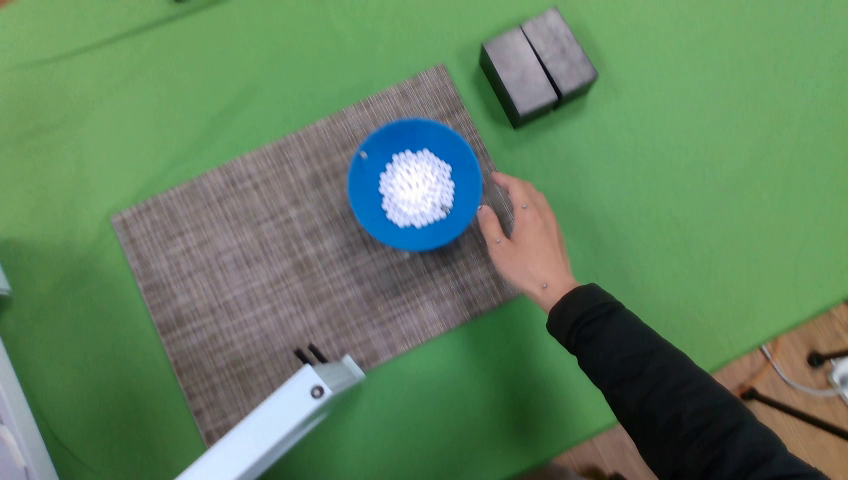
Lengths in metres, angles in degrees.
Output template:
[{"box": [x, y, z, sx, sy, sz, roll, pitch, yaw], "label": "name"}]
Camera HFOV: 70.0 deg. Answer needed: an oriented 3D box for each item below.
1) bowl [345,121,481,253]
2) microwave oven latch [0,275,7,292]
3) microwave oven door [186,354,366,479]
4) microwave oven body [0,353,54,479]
[{"box": [-0.011, -0.054, 0.703, 0.151, 0.077, 0.151, 0, 82, 0], "label": "bowl"}, {"box": [-0.514, 0.027, 0.696, 0.030, 0.029, 0.079, -27, 83, -5], "label": "microwave oven latch"}, {"box": [-0.211, 0.240, 0.562, 0.355, 0.244, 0.039, -41, 82, -6], "label": "microwave oven door"}, {"box": [-0.565, 0.233, 0.567, 0.326, 0.261, 0.440, -27, 83, -5], "label": "microwave oven body"}]
